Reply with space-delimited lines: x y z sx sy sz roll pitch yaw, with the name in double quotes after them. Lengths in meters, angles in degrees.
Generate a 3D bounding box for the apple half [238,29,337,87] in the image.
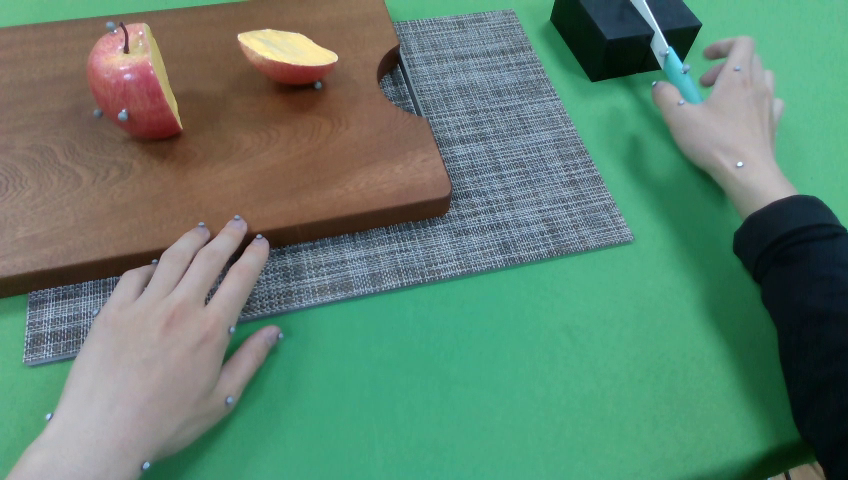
-0.118 -0.146 0.507 0.081 0.033 0.080 13 34 -9 "apple half"

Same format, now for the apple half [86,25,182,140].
-0.221 -0.114 0.458 0.053 0.075 0.080 -19 64 -12 "apple half"

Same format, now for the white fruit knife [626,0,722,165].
0.222 -0.164 0.558 0.016 0.027 0.206 -17 74 -10 "white fruit knife"
